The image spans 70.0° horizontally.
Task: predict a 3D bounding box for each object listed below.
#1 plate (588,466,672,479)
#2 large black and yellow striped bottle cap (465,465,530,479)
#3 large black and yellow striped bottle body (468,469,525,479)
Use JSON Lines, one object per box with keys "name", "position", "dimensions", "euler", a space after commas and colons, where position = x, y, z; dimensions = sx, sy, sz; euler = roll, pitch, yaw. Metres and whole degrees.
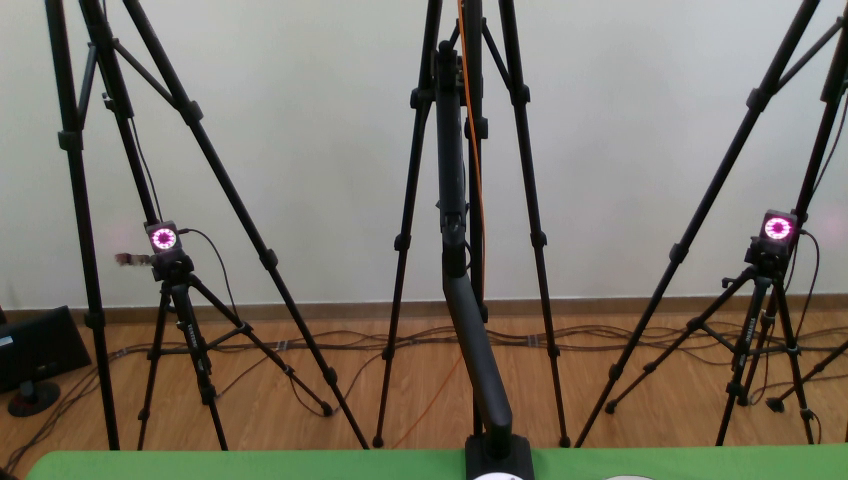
{"name": "plate", "position": [0.341, 0.455, 0.958], "dimensions": [0.209, 0.038, 0.207], "euler": [-2, 32, 2]}
{"name": "large black and yellow striped bottle cap", "position": [0.103, 0.361, 0.829], "dimensions": [0.115, 0.019, 0.114], "euler": [-1, 33, 1]}
{"name": "large black and yellow striped bottle body", "position": [0.106, 0.433, 0.874], "dimensions": [0.131, 0.185, 0.129], "euler": [-2, 32, 2]}
